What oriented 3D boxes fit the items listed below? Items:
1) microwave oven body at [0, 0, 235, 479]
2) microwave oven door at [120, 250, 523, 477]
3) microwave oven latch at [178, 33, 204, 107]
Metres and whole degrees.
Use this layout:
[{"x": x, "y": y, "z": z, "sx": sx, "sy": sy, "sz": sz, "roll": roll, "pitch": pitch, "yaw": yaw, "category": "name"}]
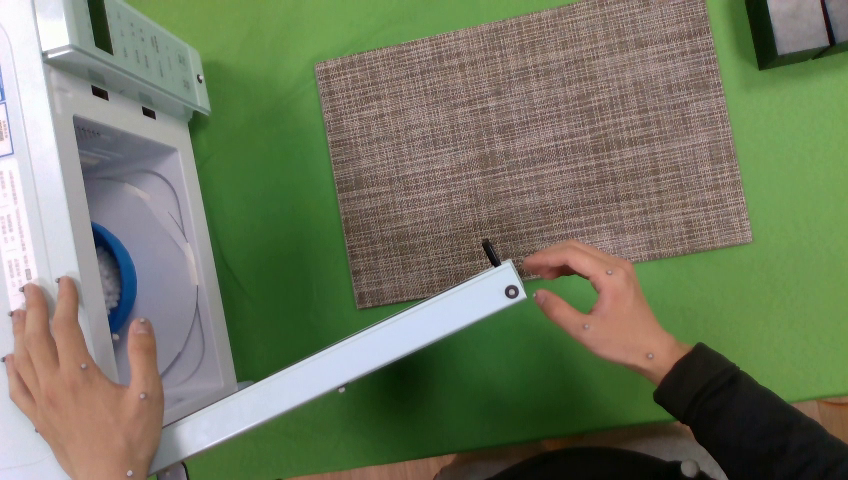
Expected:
[{"x": -0.405, "y": 0.003, "z": 0.635, "sx": 0.326, "sy": 0.260, "sz": 0.441, "roll": -12, "pitch": 89, "yaw": 7, "category": "microwave oven body"}, {"x": -0.070, "y": 0.104, "z": 0.584, "sx": 0.356, "sy": 0.244, "sz": 0.039, "roll": -27, "pitch": 85, "yaw": 7, "category": "microwave oven door"}, {"x": -0.284, "y": -0.200, "z": 0.715, "sx": 0.030, "sy": 0.029, "sz": 0.079, "roll": -11, "pitch": 89, "yaw": 7, "category": "microwave oven latch"}]
